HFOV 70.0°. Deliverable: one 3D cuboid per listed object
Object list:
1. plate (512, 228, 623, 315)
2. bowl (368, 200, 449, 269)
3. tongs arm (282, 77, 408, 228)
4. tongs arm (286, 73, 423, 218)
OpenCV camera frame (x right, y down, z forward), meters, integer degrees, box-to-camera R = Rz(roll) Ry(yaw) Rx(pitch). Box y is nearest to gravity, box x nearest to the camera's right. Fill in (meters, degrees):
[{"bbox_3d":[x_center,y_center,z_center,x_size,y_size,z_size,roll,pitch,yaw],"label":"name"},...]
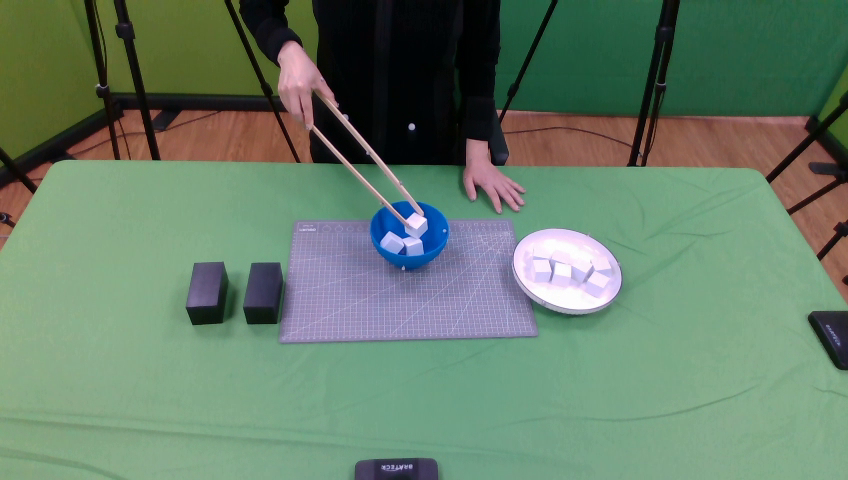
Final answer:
[{"bbox_3d":[0.268,0.063,1.146,0.208,0.039,0.206,3,46,-3],"label":"plate"},{"bbox_3d":[-0.031,0.002,1.151,0.151,0.077,0.150,2,46,-2],"label":"bowl"},{"bbox_3d":[-0.156,-0.167,1.157,0.028,0.028,0.386,-40,79,-9],"label":"tongs arm"},{"bbox_3d":[-0.137,-0.182,1.163,0.051,0.026,0.383,-35,78,-12],"label":"tongs arm"}]
